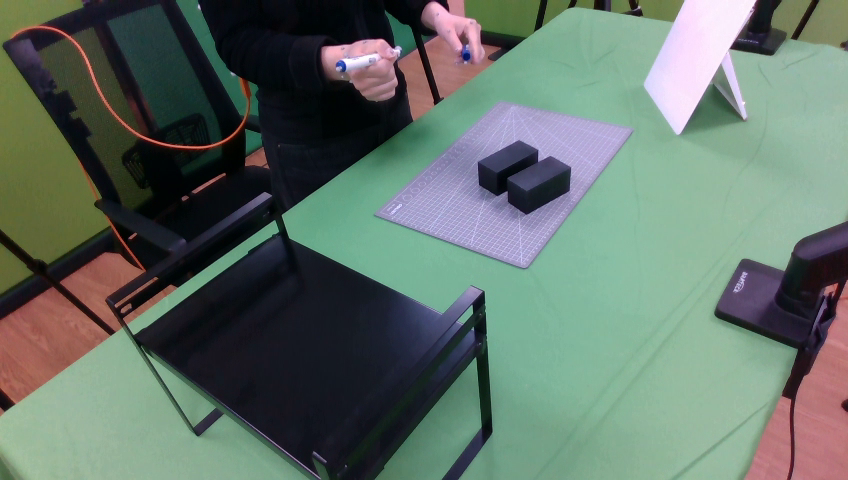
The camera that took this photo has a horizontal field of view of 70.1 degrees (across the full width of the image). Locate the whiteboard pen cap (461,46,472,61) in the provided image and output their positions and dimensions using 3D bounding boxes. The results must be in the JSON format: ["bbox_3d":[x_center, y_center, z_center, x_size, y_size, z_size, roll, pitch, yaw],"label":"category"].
[{"bbox_3d":[0.078,-0.338,1.097,0.018,0.018,0.033,-9,41,-1],"label":"whiteboard pen cap"}]

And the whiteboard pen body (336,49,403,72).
[{"bbox_3d":[-0.071,-0.251,0.836,0.017,0.017,0.141,20,33,28],"label":"whiteboard pen body"}]

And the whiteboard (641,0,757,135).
[{"bbox_3d":[0.575,-0.367,1.147,0.144,0.305,0.216,10,39,-9],"label":"whiteboard"}]
